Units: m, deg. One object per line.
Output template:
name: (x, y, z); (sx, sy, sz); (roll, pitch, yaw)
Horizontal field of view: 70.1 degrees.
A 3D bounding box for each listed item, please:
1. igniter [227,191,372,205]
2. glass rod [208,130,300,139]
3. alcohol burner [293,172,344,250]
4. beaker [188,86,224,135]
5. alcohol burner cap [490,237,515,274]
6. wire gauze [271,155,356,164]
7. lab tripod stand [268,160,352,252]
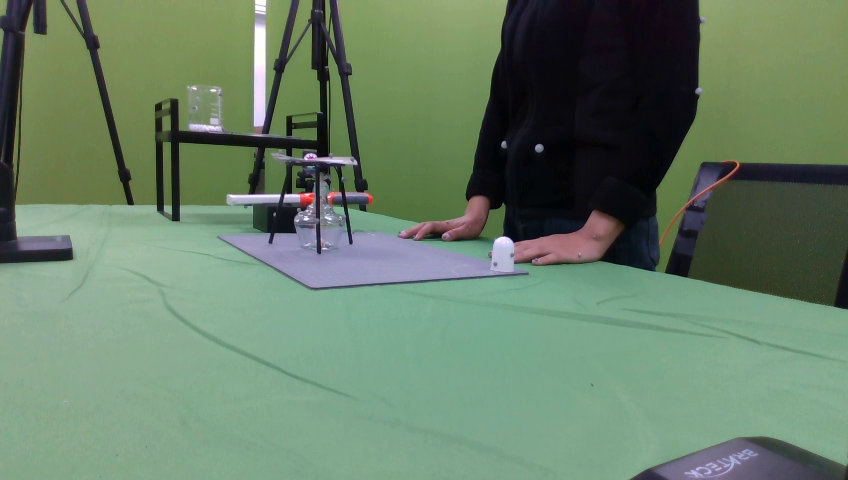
igniter: (-0.232, -0.080, 1.161); (0.278, 0.025, 0.057); (-3, 12, -29)
glass rod: (-0.367, -0.231, 1.321); (0.201, 0.008, 0.008); (-1, 8, -30)
alcohol burner: (-0.159, -0.045, 0.921); (0.078, 0.119, 0.078); (5, 7, 0)
beaker: (-0.474, -0.280, 1.311); (0.074, 0.100, 0.084); (5, 8, 26)
alcohol burner cap: (0.104, 0.020, 0.793); (0.034, 0.048, 0.034); (2, 6, 0)
wire gauze: (-0.167, -0.122, 0.917); (0.125, 0.011, 0.121); (0, 7, -9)
lab tripod stand: (-0.171, -0.055, 0.921); (0.148, 0.131, 0.148); (1, 8, 0)
